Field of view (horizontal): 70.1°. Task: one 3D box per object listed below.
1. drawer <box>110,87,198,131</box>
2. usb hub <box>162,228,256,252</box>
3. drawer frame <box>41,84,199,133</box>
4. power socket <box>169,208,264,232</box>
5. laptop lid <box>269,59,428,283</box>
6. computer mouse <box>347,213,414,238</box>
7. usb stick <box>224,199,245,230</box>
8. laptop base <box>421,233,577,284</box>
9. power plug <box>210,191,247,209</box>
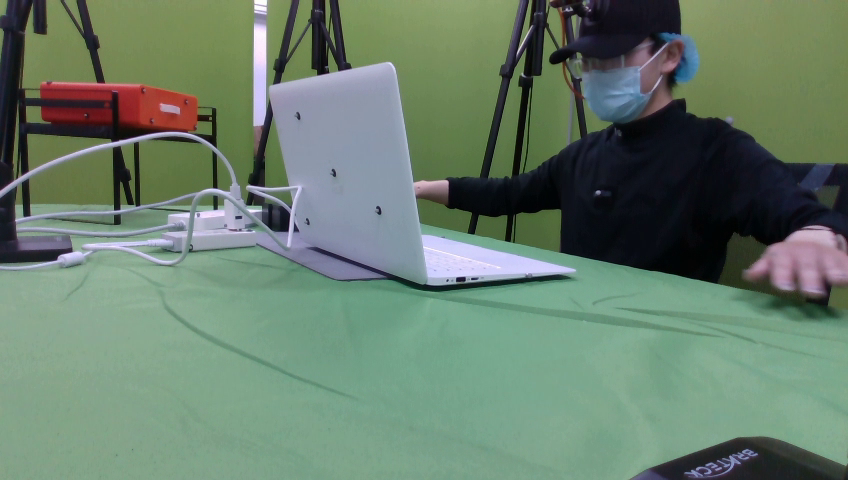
[{"bbox_3d":[-0.602,-0.263,1.225,0.211,0.073,0.195,3,8,10],"label":"drawer"},{"bbox_3d":[-0.315,0.000,0.893,0.049,0.025,0.126,9,10,41],"label":"usb hub"},{"bbox_3d":[-0.604,-0.264,1.225,0.213,0.082,0.202,3,8,8],"label":"drawer frame"},{"bbox_3d":[-0.381,-0.038,1.128,0.072,0.032,0.227,4,8,17],"label":"power socket"},{"bbox_3d":[-0.110,-0.087,0.752,0.013,0.241,0.355,-18,19,-30],"label":"laptop lid"},{"bbox_3d":[-0.079,-0.025,1.080,0.117,0.041,0.062,-5,12,-18],"label":"computer mouse"},{"bbox_3d":[-0.289,-0.033,0.924,0.027,0.059,0.021,11,13,38],"label":"usb stick"},{"bbox_3d":[0.007,0.022,0.850,0.237,0.023,0.352,1,7,-34],"label":"laptop base"},{"bbox_3d":[-0.386,-0.071,1.204,0.072,0.052,0.035,8,11,25],"label":"power plug"}]
